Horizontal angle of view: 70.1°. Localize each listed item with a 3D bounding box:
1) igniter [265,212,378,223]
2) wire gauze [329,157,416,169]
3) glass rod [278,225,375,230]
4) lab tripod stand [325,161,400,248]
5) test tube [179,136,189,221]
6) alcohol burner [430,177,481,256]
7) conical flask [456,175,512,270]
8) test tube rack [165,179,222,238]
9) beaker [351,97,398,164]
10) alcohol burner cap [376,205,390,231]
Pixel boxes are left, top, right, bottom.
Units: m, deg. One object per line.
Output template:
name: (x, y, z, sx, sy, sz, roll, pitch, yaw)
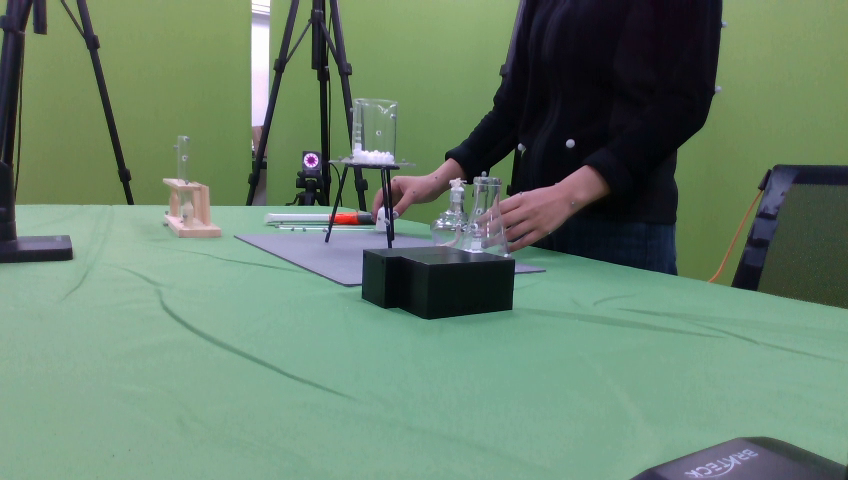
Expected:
igniter: (-0.196, -0.048, 1.286, 0.278, 0.025, 0.057, -2, -2, -30)
wire gauze: (-0.079, -0.125, 0.972, 0.121, 0.011, 0.125, 6, 6, 5)
glass rod: (-0.186, -0.024, 1.178, 0.201, 0.008, 0.008, 1, 6, -31)
lab tripod stand: (-0.083, -0.059, 0.977, 0.148, 0.131, 0.148, 4, 8, 0)
test tube: (-0.425, -0.108, 1.070, 0.017, 0.150, 0.017, 4, 9, 0)
alcohol burner: (0.049, -0.036, 0.913, 0.078, 0.119, 0.078, 4, 9, 0)
conical flask: (0.082, -0.025, 0.801, 0.075, 0.122, 0.075, 2, 7, 0)
test tube rack: (-0.423, -0.062, 1.098, 0.067, 0.085, 0.241, -2, 9, -28)
beaker: (-0.078, -0.172, 0.962, 0.074, 0.100, 0.084, 6, 8, 19)
alcohol burner cap: (-0.075, -0.042, 1.145, 0.034, 0.048, 0.034, 1, 8, 0)
